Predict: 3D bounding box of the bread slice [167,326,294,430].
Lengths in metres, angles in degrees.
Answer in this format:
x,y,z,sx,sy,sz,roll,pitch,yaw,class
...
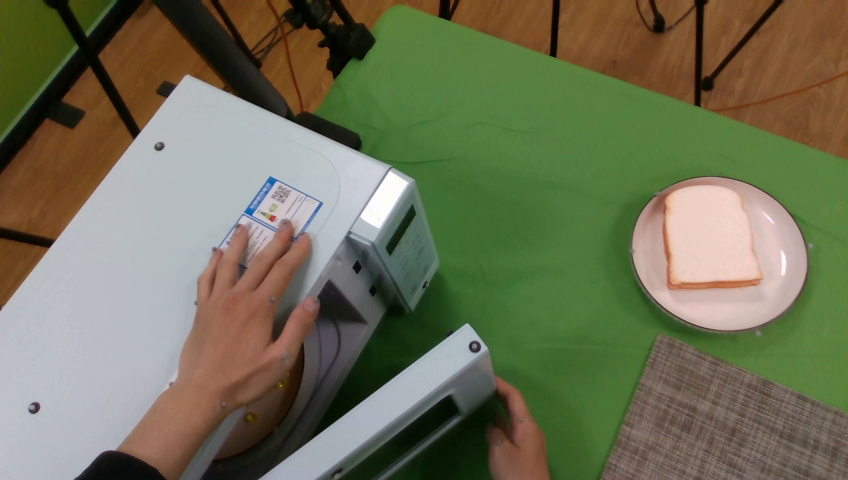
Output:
x,y,z,sx,sy,sz,roll,pitch,yaw,class
-0.241,0.170,0.742,0.104,0.019,0.131,40,49,24,bread slice

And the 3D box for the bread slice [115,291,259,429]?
x,y,z,sx,sy,sz,roll,pitch,yaw,class
-0.253,0.121,0.669,0.106,0.018,0.134,38,68,9,bread slice

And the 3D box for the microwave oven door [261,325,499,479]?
x,y,z,sx,sy,sz,roll,pitch,yaw,class
-0.079,0.224,0.609,0.356,0.246,0.039,-36,67,-7,microwave oven door

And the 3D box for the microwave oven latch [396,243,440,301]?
x,y,z,sx,sy,sz,roll,pitch,yaw,class
-0.008,0.037,0.783,0.030,0.030,0.079,29,76,17,microwave oven latch

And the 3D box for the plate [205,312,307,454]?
x,y,z,sx,sy,sz,roll,pitch,yaw,class
-0.238,0.144,0.719,0.209,0.038,0.207,-2,72,5,plate

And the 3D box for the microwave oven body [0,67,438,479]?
x,y,z,sx,sy,sz,roll,pitch,yaw,class
-0.236,0.088,0.690,0.324,0.262,0.440,26,75,16,microwave oven body

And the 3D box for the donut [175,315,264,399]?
x,y,z,sx,sy,sz,roll,pitch,yaw,class
-0.234,0.134,0.697,0.099,0.048,0.098,2,64,-4,donut

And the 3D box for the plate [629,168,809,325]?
x,y,z,sx,sy,sz,roll,pitch,yaw,class
0.364,0.009,0.762,0.207,0.039,0.206,-3,68,7,plate
